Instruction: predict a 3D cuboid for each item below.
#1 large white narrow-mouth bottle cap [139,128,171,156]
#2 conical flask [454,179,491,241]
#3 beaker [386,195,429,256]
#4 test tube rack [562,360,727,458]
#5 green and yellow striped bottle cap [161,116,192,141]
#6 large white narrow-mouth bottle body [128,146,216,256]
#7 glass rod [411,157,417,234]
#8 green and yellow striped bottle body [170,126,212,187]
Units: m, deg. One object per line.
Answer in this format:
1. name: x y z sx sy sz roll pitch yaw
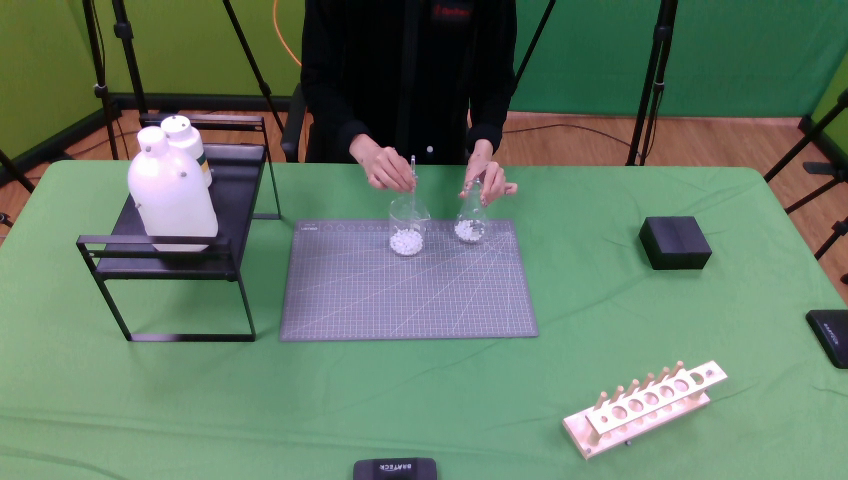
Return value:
1. large white narrow-mouth bottle cap: -0.358 -0.131 0.807 0.038 0.024 0.037 3 47 -3
2. conical flask: 0.094 -0.060 1.177 0.075 0.122 0.075 -2 46 2
3. beaker: -0.031 -0.024 1.161 0.084 0.101 0.073 18 48 12
4. test tube rack: 0.341 0.247 0.940 0.243 0.085 0.066 -16 49 -18
5. green and yellow striped bottle cap: -0.387 -0.174 0.946 0.045 0.020 0.045 3 44 -3
6. large white narrow-mouth bottle body: -0.366 -0.073 0.872 0.102 0.195 0.101 3 47 -3
7. glass rod: -0.018 -0.077 1.123 0.008 0.201 0.008 0 50 1
8. green and yellow striped bottle body: -0.389 -0.139 0.984 0.063 0.120 0.063 2 46 -2
